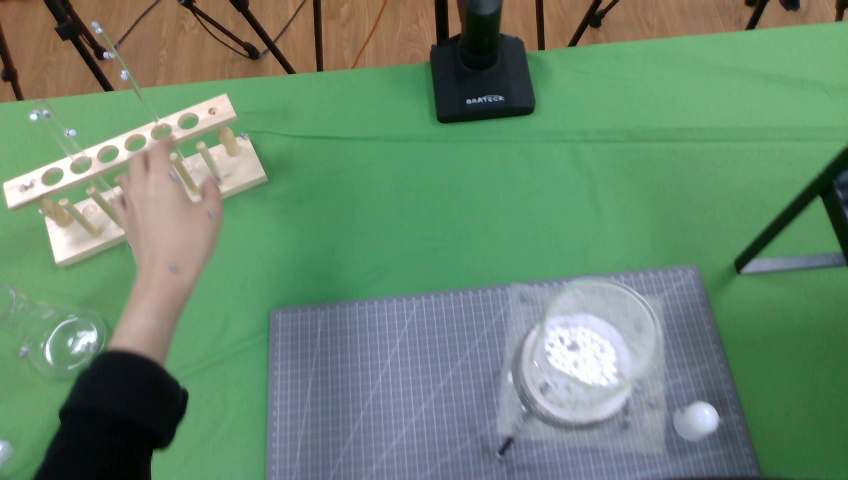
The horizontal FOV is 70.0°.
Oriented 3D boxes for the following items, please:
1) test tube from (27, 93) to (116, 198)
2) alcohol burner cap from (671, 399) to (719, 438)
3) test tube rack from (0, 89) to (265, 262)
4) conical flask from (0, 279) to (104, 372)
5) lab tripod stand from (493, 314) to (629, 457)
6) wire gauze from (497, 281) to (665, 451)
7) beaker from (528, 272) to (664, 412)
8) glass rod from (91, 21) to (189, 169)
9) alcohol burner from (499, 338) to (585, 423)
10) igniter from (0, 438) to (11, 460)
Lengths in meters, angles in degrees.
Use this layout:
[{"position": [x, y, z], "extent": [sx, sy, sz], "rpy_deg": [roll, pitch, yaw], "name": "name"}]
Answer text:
[{"position": [-0.354, -0.090, 0.617], "extent": [0.017, 0.151, 0.017], "rpy_deg": [-1, 58, 2], "name": "test tube"}, {"position": [0.249, 0.160, 0.551], "extent": [0.034, 0.048, 0.033], "rpy_deg": [0, 65, 1], "name": "alcohol burner cap"}, {"position": [-0.308, -0.070, 0.660], "extent": [0.242, 0.086, 0.066], "rpy_deg": [-25, 66, -9], "name": "test tube rack"}, {"position": [-0.369, 0.076, 0.574], "extent": [0.075, 0.123, 0.074], "rpy_deg": [-1, 64, 2], "name": "conical flask"}, {"position": [0.119, 0.127, 0.522], "extent": [0.148, 0.132, 0.147], "rpy_deg": [0, 63, 1], "name": "lab tripod stand"}, {"position": [0.122, 0.093, 0.464], "extent": [0.121, 0.011, 0.124], "rpy_deg": [7, 63, 3], "name": "wire gauze"}, {"position": [0.110, 0.078, 0.419], "extent": [0.084, 0.101, 0.073], "rpy_deg": [-27, 67, -10], "name": "beaker"}, {"position": [-0.284, -0.137, 0.618], "extent": [0.008, 0.201, 0.008], "rpy_deg": [-2, 57, 4], "name": "glass rod"}, {"position": [0.107, 0.119, 0.537], "extent": [0.078, 0.120, 0.077], "rpy_deg": [0, 63, 1], "name": "alcohol burner"}, {"position": [-0.438, 0.284, 0.479], "extent": [0.057, 0.025, 0.275], "rpy_deg": [20, 66, 22], "name": "igniter"}]
